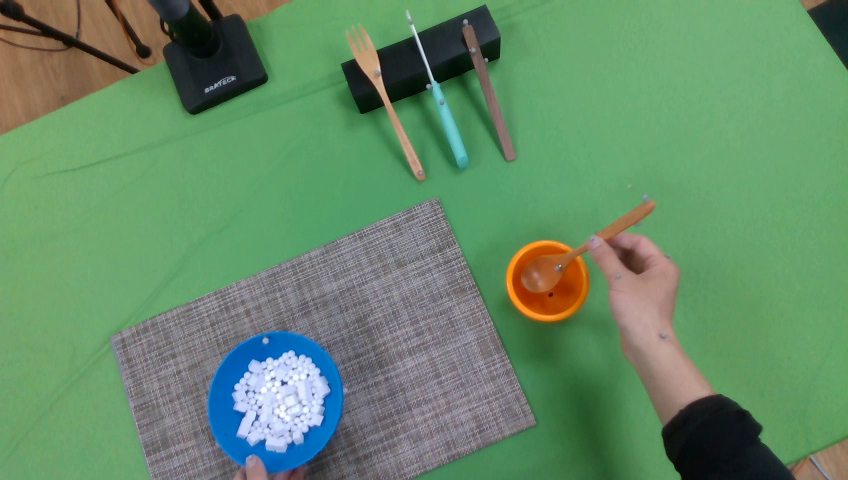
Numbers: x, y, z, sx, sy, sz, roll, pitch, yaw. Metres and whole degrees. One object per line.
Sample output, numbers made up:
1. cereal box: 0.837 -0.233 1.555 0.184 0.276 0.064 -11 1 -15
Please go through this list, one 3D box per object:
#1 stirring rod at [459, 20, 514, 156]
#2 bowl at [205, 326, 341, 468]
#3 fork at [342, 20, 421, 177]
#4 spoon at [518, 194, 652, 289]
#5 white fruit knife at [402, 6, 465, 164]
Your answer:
1. stirring rod: 0.079 -0.190 0.764 0.014 0.006 0.176 -21 97 -2
2. bowl: -0.162 0.178 0.695 0.151 0.077 0.150 -1 78 5
3. fork: -0.049 -0.174 0.762 0.028 0.018 0.208 -25 97 -4
4. spoon: 0.165 0.004 0.642 0.021 0.194 0.041 -27 81 -37
5. white fruit knife: 0.010 -0.195 0.760 0.016 0.027 0.207 -22 93 -3
